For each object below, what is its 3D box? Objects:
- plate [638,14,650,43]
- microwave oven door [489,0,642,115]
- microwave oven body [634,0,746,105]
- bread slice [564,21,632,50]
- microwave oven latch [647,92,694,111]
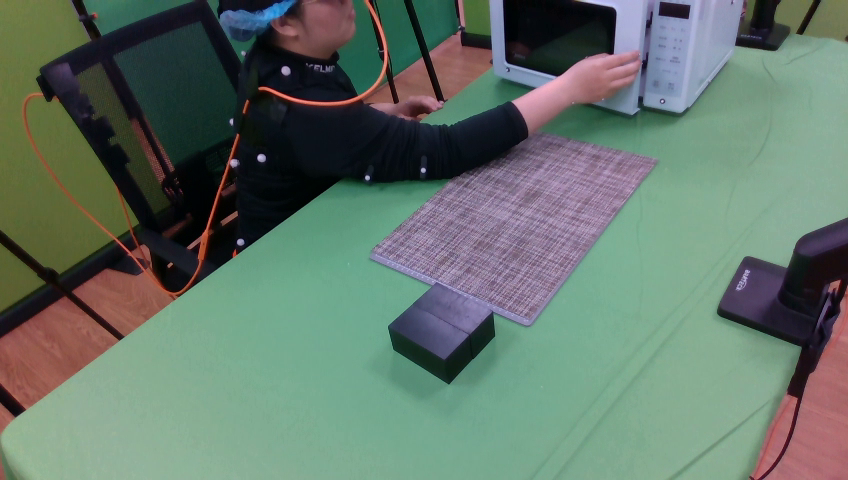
[{"bbox_3d":[0.390,-0.456,1.339,0.209,0.038,0.208,-6,39,5],"label":"plate"},{"bbox_3d":[0.279,-0.409,1.218,0.352,0.245,0.039,28,53,36],"label":"microwave oven door"},{"bbox_3d":[0.417,-0.486,1.290,0.438,0.261,0.327,21,50,33],"label":"microwave oven body"},{"bbox_3d":[0.394,-0.455,1.344,0.105,0.019,0.130,-35,44,-26],"label":"bread slice"},{"bbox_3d":[0.478,-0.274,1.177,0.078,0.029,0.030,24,51,34],"label":"microwave oven latch"}]
